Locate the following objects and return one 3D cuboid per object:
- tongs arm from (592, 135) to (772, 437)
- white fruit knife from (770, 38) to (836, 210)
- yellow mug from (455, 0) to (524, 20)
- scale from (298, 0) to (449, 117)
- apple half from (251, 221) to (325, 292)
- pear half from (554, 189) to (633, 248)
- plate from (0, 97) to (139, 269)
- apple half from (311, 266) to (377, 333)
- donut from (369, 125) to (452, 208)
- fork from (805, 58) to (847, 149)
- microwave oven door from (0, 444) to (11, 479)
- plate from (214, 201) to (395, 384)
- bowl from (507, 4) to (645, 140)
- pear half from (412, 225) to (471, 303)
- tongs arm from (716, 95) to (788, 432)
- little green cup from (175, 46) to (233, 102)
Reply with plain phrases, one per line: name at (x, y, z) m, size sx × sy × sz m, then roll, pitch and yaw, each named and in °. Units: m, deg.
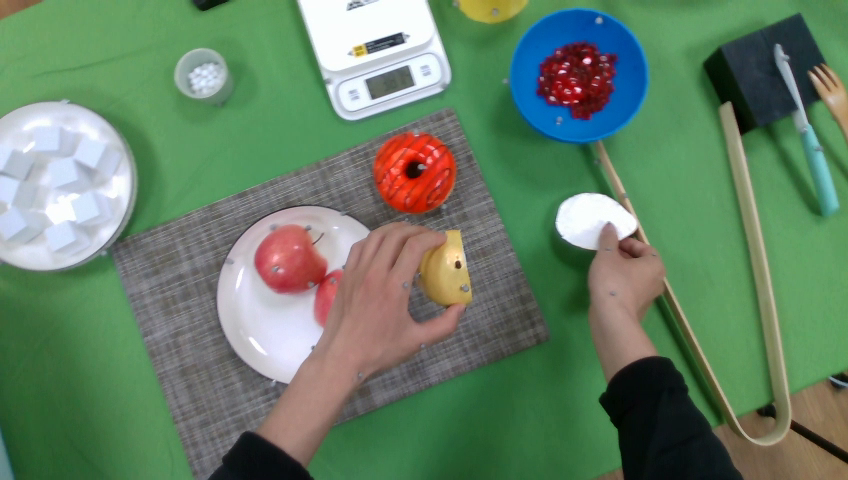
tongs arm at (0.292, 0.048, 0.696) m, size 0.051 × 0.026 × 0.384 m, roll -22°, pitch 86°, yaw -4°
white fruit knife at (0.426, -0.128, 0.683) m, size 0.016 × 0.027 × 0.208 m, roll -25°, pitch 99°, yaw 0°
yellow mug at (0.067, -0.332, 0.718) m, size 0.130 × 0.064 × 0.100 m, roll 35°, pitch 88°, yaw 5°
scale at (-0.066, -0.263, 0.734) m, size 0.149 × 0.031 × 0.200 m, roll -18°, pitch 85°, yaw 1°
apple half at (-0.159, 0.020, 0.690) m, size 0.074 × 0.053 × 0.080 m, roll -29°, pitch 88°, yaw 1°
pear half at (0.198, -0.023, 0.709) m, size 0.087 × 0.031 × 0.070 m, roll 6°, pitch 85°, yaw 16°
plate at (-0.442, -0.067, 0.728) m, size 0.207 × 0.039 × 0.207 m, roll 0°, pitch 85°, yaw 2°
apple half at (-0.097, 0.070, 0.697) m, size 0.081 × 0.033 × 0.081 m, roll 0°, pitch 85°, yaw 3°
donut at (-0.015, -0.085, 0.708) m, size 0.099 × 0.048 × 0.099 m, roll 0°, pitch 87°, yaw 4°
fork at (0.486, -0.112, 0.687) m, size 0.028 × 0.018 × 0.208 m, roll -32°, pitch 101°, yaw -2°
microwave oven door at (-0.492, 0.280, 0.581) m, size 0.039 × 0.244 × 0.355 m, roll -20°, pitch 84°, yaw 0°
plate at (-0.135, 0.060, 0.704) m, size 0.209 × 0.038 × 0.208 m, roll 0°, pitch 85°, yaw 2°
bowl at (0.167, -0.182, 0.697) m, size 0.151 × 0.077 × 0.151 m, roll 0°, pitch 86°, yaw 2°
pear half at (0.017, 0.024, 0.577) m, size 0.056 × 0.110 × 0.076 m, roll -14°, pitch 82°, yaw -4°
tongs arm at (0.375, 0.023, 0.699) m, size 0.028 × 0.028 × 0.386 m, roll -7°, pitch 86°, yaw -6°
little green cup at (-0.264, -0.198, 0.733) m, size 0.061 × 0.039 × 0.061 m, roll 0°, pitch 85°, yaw 3°
